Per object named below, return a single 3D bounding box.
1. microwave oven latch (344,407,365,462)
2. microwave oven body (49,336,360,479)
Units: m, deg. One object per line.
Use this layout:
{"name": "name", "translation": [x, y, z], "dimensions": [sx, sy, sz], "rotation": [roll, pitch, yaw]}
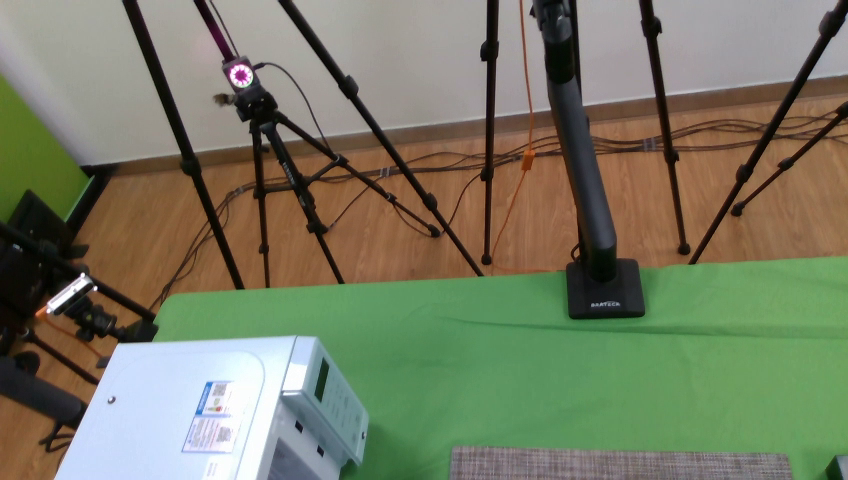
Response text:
{"name": "microwave oven latch", "translation": [-0.108, 0.293, 0.917], "dimensions": [0.030, 0.030, 0.078], "rotation": [-4, 50, 13]}
{"name": "microwave oven body", "translation": [-0.291, 0.376, 0.765], "dimensions": [0.325, 0.263, 0.437], "rotation": [-4, 50, 13]}
